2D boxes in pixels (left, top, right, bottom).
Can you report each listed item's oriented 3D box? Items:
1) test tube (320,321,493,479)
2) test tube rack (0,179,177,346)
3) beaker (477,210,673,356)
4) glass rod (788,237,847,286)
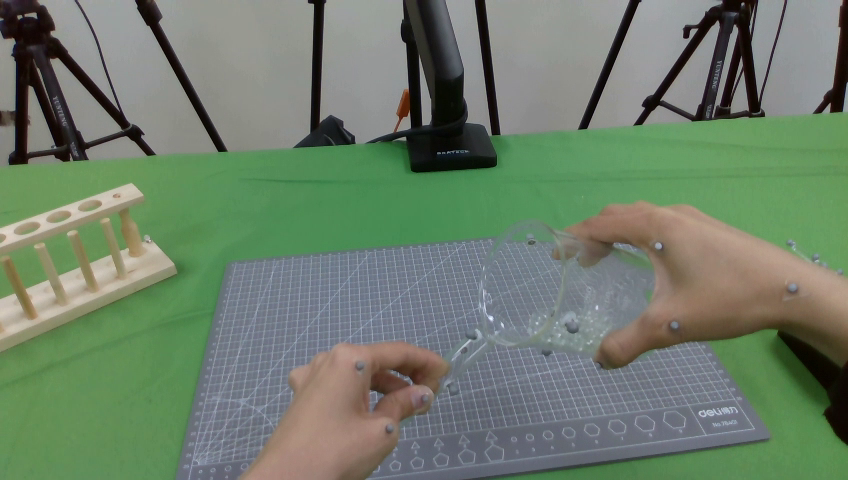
[{"bbox_3d":[-0.014,0.104,0.381,0.150,0.017,0.017,-45,36,15],"label":"test tube"},{"bbox_3d":[-0.376,0.030,0.580,0.242,0.086,0.066,-28,44,-32],"label":"test tube rack"},{"bbox_3d":[0.092,0.033,0.368,0.101,0.084,0.073,13,30,-29],"label":"beaker"},{"bbox_3d":[0.379,0.053,0.504,0.008,0.008,0.197,-11,36,-12],"label":"glass rod"}]
